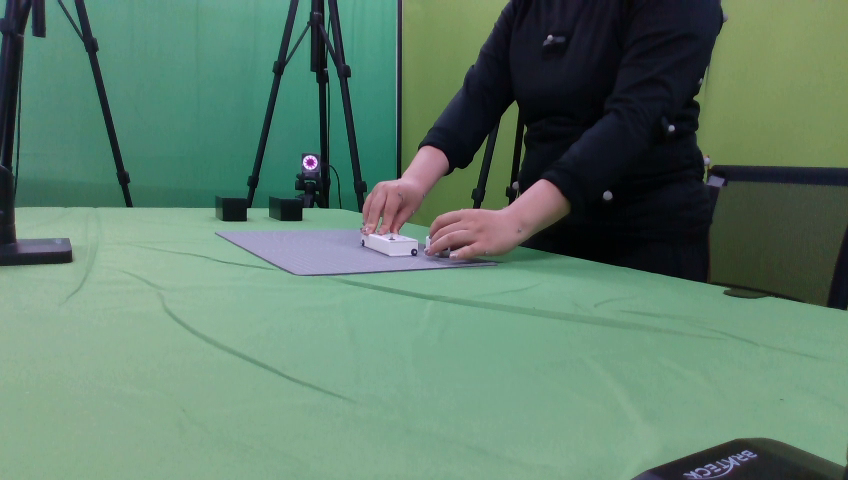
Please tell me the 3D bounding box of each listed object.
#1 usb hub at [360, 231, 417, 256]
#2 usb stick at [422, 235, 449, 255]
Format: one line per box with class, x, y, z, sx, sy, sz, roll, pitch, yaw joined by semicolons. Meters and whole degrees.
usb hub;-0.059;0.005;0.951;0.050;0.025;0.124;-2;8;-26
usb stick;0.015;0.008;0.935;0.021;0.027;0.059;24;-11;-23
